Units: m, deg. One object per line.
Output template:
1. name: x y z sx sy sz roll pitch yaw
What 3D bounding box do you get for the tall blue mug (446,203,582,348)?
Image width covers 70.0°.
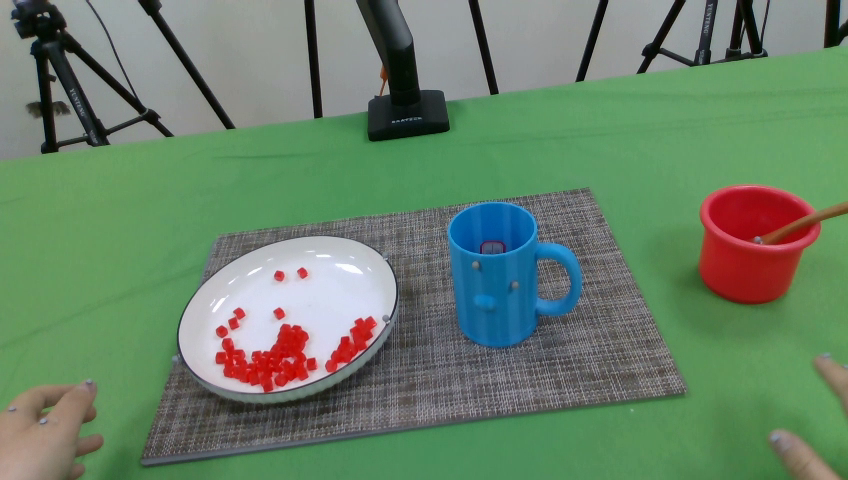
1. tall blue mug: 0.078 0.029 0.541 0.107 0.109 0.077 -12 38 -4

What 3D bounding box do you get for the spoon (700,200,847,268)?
1. spoon: 0.330 -0.013 0.524 0.021 0.194 0.041 51 50 -4

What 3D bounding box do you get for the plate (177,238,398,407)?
1. plate: -0.124 0.076 0.579 0.207 0.039 0.205 -5 38 4
